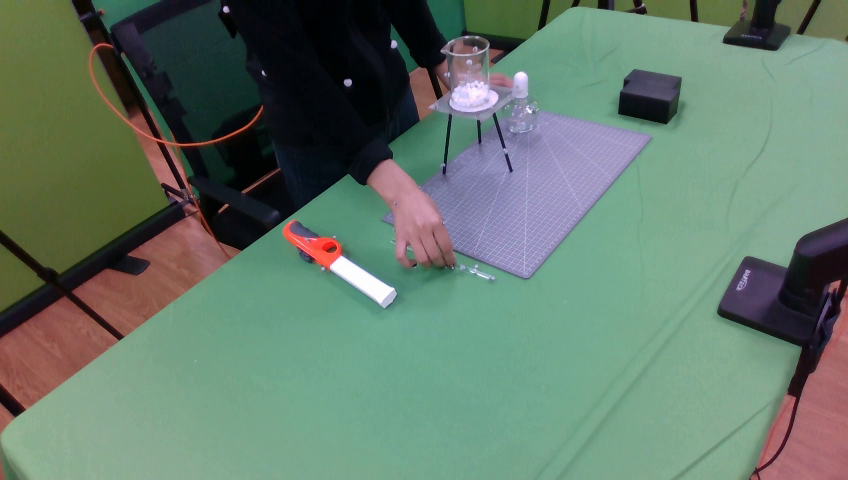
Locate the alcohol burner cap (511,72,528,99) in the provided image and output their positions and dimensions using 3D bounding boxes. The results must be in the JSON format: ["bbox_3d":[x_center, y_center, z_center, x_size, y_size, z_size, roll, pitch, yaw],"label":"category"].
[{"bbox_3d":[0.185,-0.302,1.171,0.034,0.048,0.033,-2,42,2],"label":"alcohol burner cap"}]

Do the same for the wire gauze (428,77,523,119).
[{"bbox_3d":[0.090,-0.248,1.063,0.120,0.011,0.125,24,48,30],"label":"wire gauze"}]

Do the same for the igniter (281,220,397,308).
[{"bbox_3d":[-0.146,0.032,0.966,0.274,0.025,0.057,30,64,37],"label":"igniter"}]

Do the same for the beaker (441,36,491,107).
[{"bbox_3d":[0.074,-0.286,1.036,0.084,0.101,0.073,-1,41,8],"label":"beaker"}]

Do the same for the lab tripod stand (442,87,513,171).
[{"bbox_3d":[0.097,-0.201,1.108,0.148,0.132,0.147,-4,40,4],"label":"lab tripod stand"}]

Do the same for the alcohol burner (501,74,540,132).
[{"bbox_3d":[0.191,-0.275,1.194,0.078,0.119,0.077,-4,42,4],"label":"alcohol burner"}]

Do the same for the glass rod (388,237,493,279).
[{"bbox_3d":[0.022,0.026,0.954,0.198,0.008,0.008,20,49,30],"label":"glass rod"}]
